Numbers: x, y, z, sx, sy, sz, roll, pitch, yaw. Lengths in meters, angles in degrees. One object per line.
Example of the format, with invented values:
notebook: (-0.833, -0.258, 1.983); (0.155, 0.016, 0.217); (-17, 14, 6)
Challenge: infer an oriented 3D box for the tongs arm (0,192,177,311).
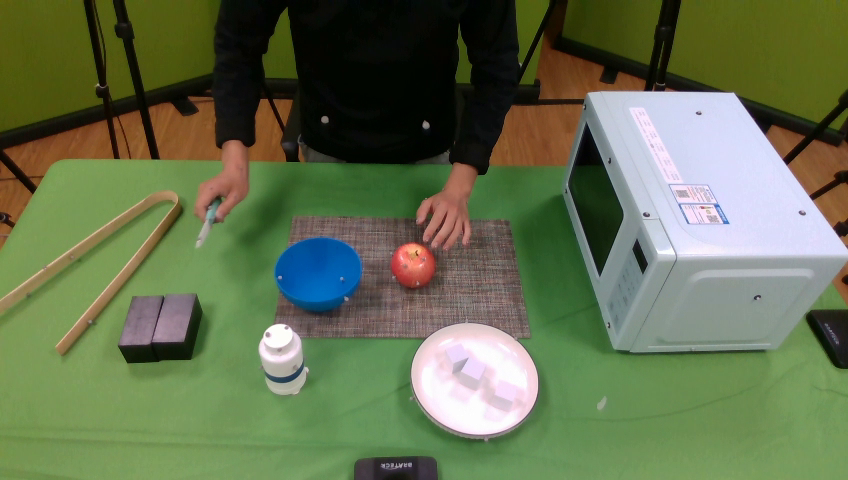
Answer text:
tongs arm: (-0.618, 0.019, 1.123); (0.050, 0.026, 0.384); (23, 47, 17)

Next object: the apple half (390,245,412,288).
apple half: (-0.046, 0.053, 1.105); (0.033, 0.081, 0.080); (-8, 47, -16)

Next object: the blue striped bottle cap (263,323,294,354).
blue striped bottle cap: (-0.217, 0.146, 0.900); (0.044, 0.021, 0.044); (1, 46, -1)

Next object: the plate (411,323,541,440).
plate: (0.082, 0.228, 0.976); (0.208, 0.039, 0.206); (2, 45, -2)

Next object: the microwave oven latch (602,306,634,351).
microwave oven latch: (0.332, 0.153, 1.044); (0.030, 0.029, 0.078); (-1, 45, -4)

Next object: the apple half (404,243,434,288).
apple half: (-0.009, 0.047, 1.115); (0.053, 0.075, 0.080); (-7, 44, -16)

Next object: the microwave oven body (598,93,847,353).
microwave oven body: (0.475, -0.041, 1.109); (0.326, 0.261, 0.438); (-1, 45, -4)

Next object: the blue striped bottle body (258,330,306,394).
blue striped bottle body: (-0.220, 0.182, 0.937); (0.063, 0.121, 0.062); (2, 46, -2)

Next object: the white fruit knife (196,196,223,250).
white fruit knife: (-0.373, -0.032, 1.054); (0.016, 0.027, 0.206); (-2, 26, -8)

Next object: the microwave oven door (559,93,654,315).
microwave oven door: (0.327, -0.074, 1.123); (0.039, 0.245, 0.353); (-1, 46, -5)

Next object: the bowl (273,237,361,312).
bowl: (-0.186, 0.074, 1.069); (0.151, 0.077, 0.150); (3, 46, -3)

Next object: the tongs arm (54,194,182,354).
tongs arm: (-0.543, 0.048, 1.107); (0.028, 0.028, 0.385); (11, 45, 10)
